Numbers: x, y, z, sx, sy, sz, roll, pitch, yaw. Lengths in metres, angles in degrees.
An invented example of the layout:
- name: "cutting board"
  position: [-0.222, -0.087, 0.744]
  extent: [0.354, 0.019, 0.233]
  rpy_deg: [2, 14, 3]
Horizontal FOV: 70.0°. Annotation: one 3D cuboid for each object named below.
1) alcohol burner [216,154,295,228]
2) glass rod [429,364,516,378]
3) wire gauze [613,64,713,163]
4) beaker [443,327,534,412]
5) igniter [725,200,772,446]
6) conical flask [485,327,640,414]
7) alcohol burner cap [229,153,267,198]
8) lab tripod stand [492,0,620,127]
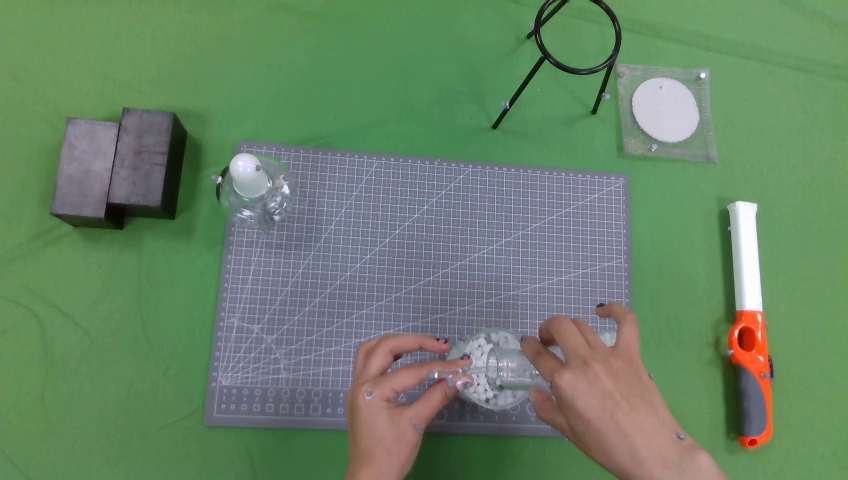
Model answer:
- name: "alcohol burner"
  position: [-0.169, -0.054, 0.599]
  extent: [0.078, 0.119, 0.077]
  rpy_deg: [1, 78, -5]
- name: "glass rod"
  position: [0.049, 0.115, 0.530]
  extent: [0.008, 0.201, 0.008]
  rpy_deg: [-5, 79, 25]
- name: "wire gauze"
  position: [0.293, -0.157, 0.740]
  extent: [0.125, 0.011, 0.121]
  rpy_deg: [3, 78, -9]
- name: "beaker"
  position: [0.062, 0.125, 0.601]
  extent: [0.084, 0.100, 0.074]
  rpy_deg: [-39, 85, -14]
- name: "igniter"
  position: [0.366, 0.090, 0.688]
  extent: [0.057, 0.025, 0.275]
  rpy_deg: [7, 77, -17]
- name: "conical flask"
  position: [0.116, 0.112, 0.523]
  extent: [0.122, 0.075, 0.075]
  rpy_deg: [3, 77, -10]
- name: "alcohol burner cap"
  position: [-0.166, -0.063, 0.564]
  extent: [0.034, 0.048, 0.033]
  rpy_deg: [3, 70, -8]
- name: "lab tripod stand"
  position: [0.142, -0.190, 0.662]
  extent: [0.149, 0.131, 0.148]
  rpy_deg: [1, 80, -7]
